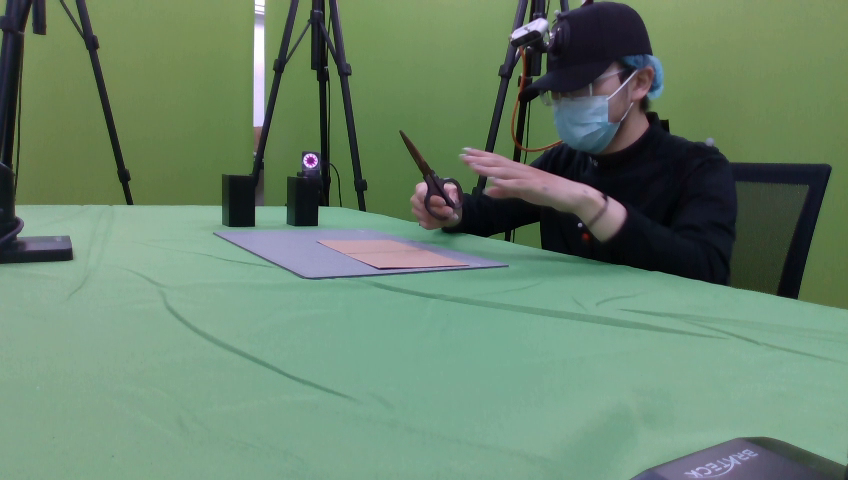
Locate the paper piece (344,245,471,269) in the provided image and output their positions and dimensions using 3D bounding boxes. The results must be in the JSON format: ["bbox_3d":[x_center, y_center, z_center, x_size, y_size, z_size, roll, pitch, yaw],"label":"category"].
[{"bbox_3d":[-0.027,0.024,0.847,0.137,0.008,0.137,-5,11,-26],"label":"paper piece"}]

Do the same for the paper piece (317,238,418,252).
[{"bbox_3d":[-0.088,0.006,0.964,0.136,0.004,0.135,-3,8,-27],"label":"paper piece"}]

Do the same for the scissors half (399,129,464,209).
[{"bbox_3d":[0.014,-0.119,1.009,0.176,0.040,0.013,47,-12,-26],"label":"scissors half"}]

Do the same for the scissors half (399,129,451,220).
[{"bbox_3d":[-0.002,-0.107,1.005,0.040,0.175,0.012,-31,22,-13],"label":"scissors half"}]
